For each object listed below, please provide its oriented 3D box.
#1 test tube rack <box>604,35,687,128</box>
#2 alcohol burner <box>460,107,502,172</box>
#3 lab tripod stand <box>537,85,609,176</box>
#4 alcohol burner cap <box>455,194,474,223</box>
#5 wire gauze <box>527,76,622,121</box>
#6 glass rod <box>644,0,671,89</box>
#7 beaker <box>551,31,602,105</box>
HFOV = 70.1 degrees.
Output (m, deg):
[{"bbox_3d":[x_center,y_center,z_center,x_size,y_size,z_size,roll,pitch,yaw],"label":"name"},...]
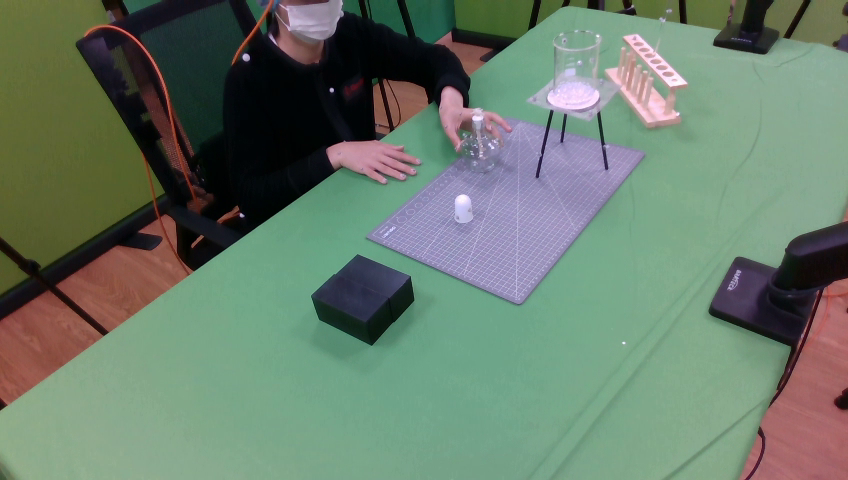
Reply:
[{"bbox_3d":[0.447,-0.330,1.241,0.067,0.085,0.241,-9,41,-2],"label":"test tube rack"},{"bbox_3d":[0.102,-0.185,1.098,0.078,0.119,0.077,-6,40,5],"label":"alcohol burner"},{"bbox_3d":[0.259,-0.192,1.068,0.148,0.132,0.147,-4,43,4],"label":"lab tripod stand"},{"bbox_3d":[0.066,-0.054,1.006,0.034,0.048,0.033,-5,40,5],"label":"alcohol burner cap"},{"bbox_3d":[0.255,-0.247,1.030,0.124,0.011,0.122,23,49,34],"label":"wire gauze"},{"bbox_3d":[0.463,-0.387,1.204,0.008,0.200,0.008,0,47,1],"label":"glass rod"},{"bbox_3d":[0.252,-0.282,0.998,0.084,0.101,0.073,-16,42,-7],"label":"beaker"}]
